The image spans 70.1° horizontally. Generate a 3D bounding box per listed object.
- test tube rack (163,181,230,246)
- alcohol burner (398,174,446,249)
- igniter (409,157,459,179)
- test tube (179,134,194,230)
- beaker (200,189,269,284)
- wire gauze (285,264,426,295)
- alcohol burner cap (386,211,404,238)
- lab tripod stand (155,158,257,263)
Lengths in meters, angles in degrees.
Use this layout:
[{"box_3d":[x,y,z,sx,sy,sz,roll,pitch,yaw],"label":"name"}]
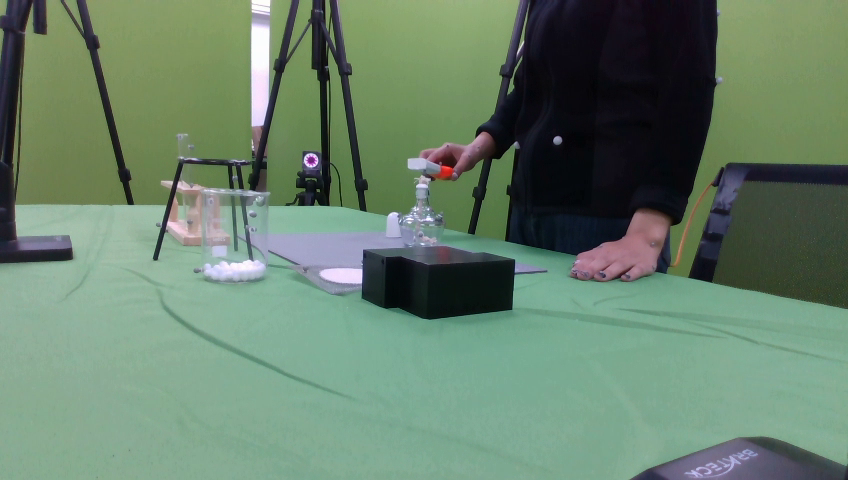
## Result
[{"box_3d":[-0.387,-0.050,1.015,0.067,0.085,0.241,-2,9,-30],"label":"test tube rack"},{"box_3d":[-0.003,-0.046,0.973,0.078,0.119,0.078,0,7,0],"label":"alcohol burner"},{"box_3d":[0.023,-0.132,1.118,0.057,0.025,0.277,1,2,13],"label":"igniter"},{"box_3d":[-0.366,-0.089,0.938,0.017,0.150,0.017,-1,9,1],"label":"test tube"},{"box_3d":[-0.209,-0.006,0.676,0.073,0.100,0.084,7,8,28],"label":"beaker"},{"box_3d":[-0.079,0.039,0.692,0.122,0.011,0.124,-4,11,-37],"label":"wire gauze"},{"box_3d":[-0.053,-0.029,1.107,0.034,0.048,0.034,2,9,0],"label":"alcohol burner cap"},{"box_3d":[-0.275,-0.041,0.797,0.148,0.131,0.148,2,9,0],"label":"lab tripod stand"}]
